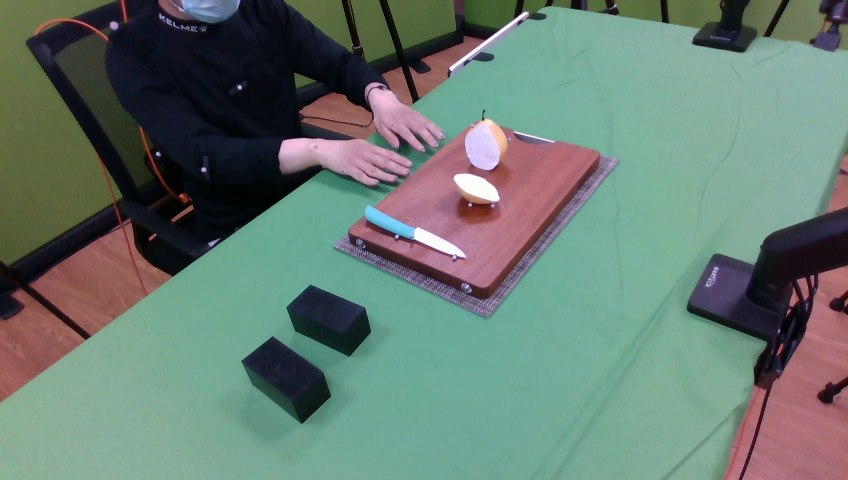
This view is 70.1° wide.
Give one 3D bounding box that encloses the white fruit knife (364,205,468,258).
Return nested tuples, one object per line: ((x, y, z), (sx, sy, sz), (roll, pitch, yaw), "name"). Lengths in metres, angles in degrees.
((-0.017, -0.012, 0.943), (0.206, 0.016, 0.027), (24, 64, 29), "white fruit knife")

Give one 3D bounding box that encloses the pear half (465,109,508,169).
((0.112, -0.185, 1.055), (0.076, 0.110, 0.056), (18, 46, 22), "pear half")

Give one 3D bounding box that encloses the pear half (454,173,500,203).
((0.086, -0.079, 0.994), (0.071, 0.031, 0.087), (-22, 54, -38), "pear half")
